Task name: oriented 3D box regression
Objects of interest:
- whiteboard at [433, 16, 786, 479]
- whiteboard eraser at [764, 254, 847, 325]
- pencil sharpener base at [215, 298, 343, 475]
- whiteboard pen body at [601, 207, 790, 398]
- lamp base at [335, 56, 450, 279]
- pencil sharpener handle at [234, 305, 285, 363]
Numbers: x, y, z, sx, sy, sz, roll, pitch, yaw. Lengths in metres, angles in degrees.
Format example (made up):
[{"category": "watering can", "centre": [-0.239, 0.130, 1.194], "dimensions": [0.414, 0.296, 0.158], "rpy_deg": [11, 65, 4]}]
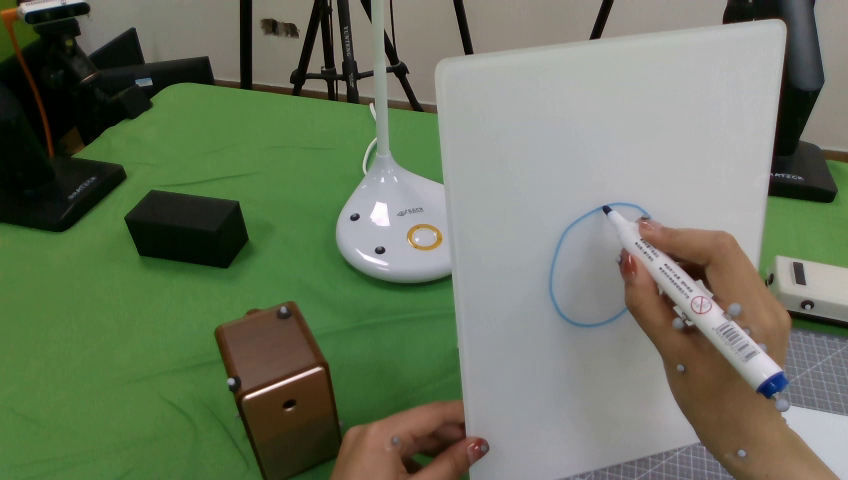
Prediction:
[{"category": "whiteboard", "centre": [0.111, 0.006, 0.452], "dimensions": [0.217, 0.307, 0.142], "rpy_deg": [-10, 22, -9]}, {"category": "whiteboard eraser", "centre": [0.377, 0.050, 0.557], "dimensions": [0.112, 0.042, 0.055], "rpy_deg": [11, 40, 14]}, {"category": "pencil sharpener base", "centre": [-0.105, 0.107, 0.445], "dimensions": [0.061, 0.108, 0.076], "rpy_deg": [-20, 43, -20]}, {"category": "whiteboard pen body", "centre": [0.137, 0.025, 0.325], "dimensions": [0.017, 0.017, 0.139], "rpy_deg": [-17, 47, -18]}, {"category": "lamp base", "centre": [-0.023, -0.080, 0.609], "dimensions": [0.161, 0.182, 0.177], "rpy_deg": [-23, 43, -24]}, {"category": "pencil sharpener handle", "centre": [-0.127, 0.068, 0.472], "dimensions": [0.036, 0.068, 0.030], "rpy_deg": [-26, 45, -14]}]
